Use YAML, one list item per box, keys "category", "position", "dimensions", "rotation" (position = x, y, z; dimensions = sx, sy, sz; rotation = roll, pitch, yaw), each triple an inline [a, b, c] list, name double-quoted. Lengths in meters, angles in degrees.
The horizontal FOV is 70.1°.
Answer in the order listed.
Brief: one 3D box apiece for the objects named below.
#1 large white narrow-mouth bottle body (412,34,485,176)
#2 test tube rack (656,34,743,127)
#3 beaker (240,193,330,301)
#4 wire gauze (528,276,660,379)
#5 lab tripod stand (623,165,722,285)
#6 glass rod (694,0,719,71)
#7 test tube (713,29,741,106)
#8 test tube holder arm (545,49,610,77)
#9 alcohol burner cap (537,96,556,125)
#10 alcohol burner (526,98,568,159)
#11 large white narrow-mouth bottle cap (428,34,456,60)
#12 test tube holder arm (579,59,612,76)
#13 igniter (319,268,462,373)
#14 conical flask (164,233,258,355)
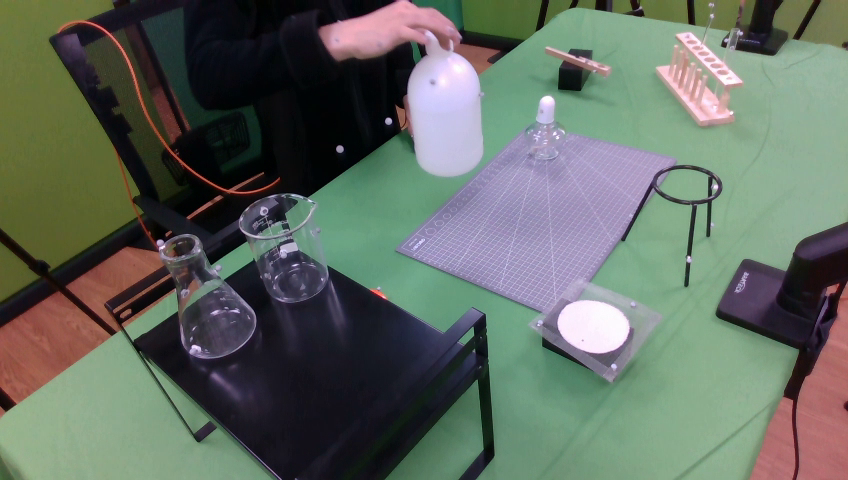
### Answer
- category: "large white narrow-mouth bottle body"
  position: [0.034, -0.195, 0.863]
  dimensions: [0.102, 0.195, 0.101]
  rotation: [-4, 41, 4]
- category: "test tube rack"
  position: [0.553, -0.330, 1.233]
  dimensions: [0.067, 0.085, 0.241]
  rotation: [-7, 40, 2]
- category: "beaker"
  position: [-0.144, 0.009, 0.656]
  dimensions: [0.084, 0.101, 0.073]
  rotation: [-25, 43, -19]
- category: "wire gauze"
  position: [0.213, 0.103, 0.763]
  dimensions: [0.124, 0.011, 0.122]
  rotation: [30, 52, 35]
- category: "lab tripod stand"
  position: [0.365, -0.030, 0.874]
  dimensions: [0.148, 0.132, 0.147]
  rotation: [-6, 41, 6]
- category: "glass rod"
  position: [0.561, -0.401, 1.214]
  dimensions: [0.008, 0.200, 0.008]
  rotation: [-1, 48, 2]
- category: "test tube"
  position: [0.573, -0.324, 1.146]
  dimensions: [0.017, 0.151, 0.017]
  rotation: [-3, 39, 3]
- category: "test tube holder arm"
  position: [0.330, -0.387, 1.314]
  dimensions: [0.013, 0.015, 0.177]
  rotation: [-25, 43, -31]
- category: "alcohol burner cap"
  position: [0.223, -0.237, 1.095]
  dimensions: [0.034, 0.048, 0.033]
  rotation: [-1, 42, 1]
- category: "alcohol burner"
  position: [0.228, -0.210, 1.118]
  dimensions: [0.078, 0.119, 0.077]
  rotation: [-5, 43, 5]
- category: "large white narrow-mouth bottle cap"
  position: [0.025, -0.258, 0.806]
  dimensions: [0.038, 0.024, 0.037]
  rotation: [-4, 41, 4]
- category: "test tube holder arm"
  position: [0.363, -0.368, 1.289]
  dimensions: [0.010, 0.015, 0.087]
  rotation: [-25, 43, -31]
- category: "igniter"
  position: [-0.059, 0.107, 0.862]
  dimensions: [0.274, 0.025, 0.057]
  rotation: [28, 62, 34]
- category: "conical flask"
  position: [-0.217, 0.051, 0.601]
  dimensions: [0.075, 0.122, 0.075]
  rotation: [-4, 40, 4]
